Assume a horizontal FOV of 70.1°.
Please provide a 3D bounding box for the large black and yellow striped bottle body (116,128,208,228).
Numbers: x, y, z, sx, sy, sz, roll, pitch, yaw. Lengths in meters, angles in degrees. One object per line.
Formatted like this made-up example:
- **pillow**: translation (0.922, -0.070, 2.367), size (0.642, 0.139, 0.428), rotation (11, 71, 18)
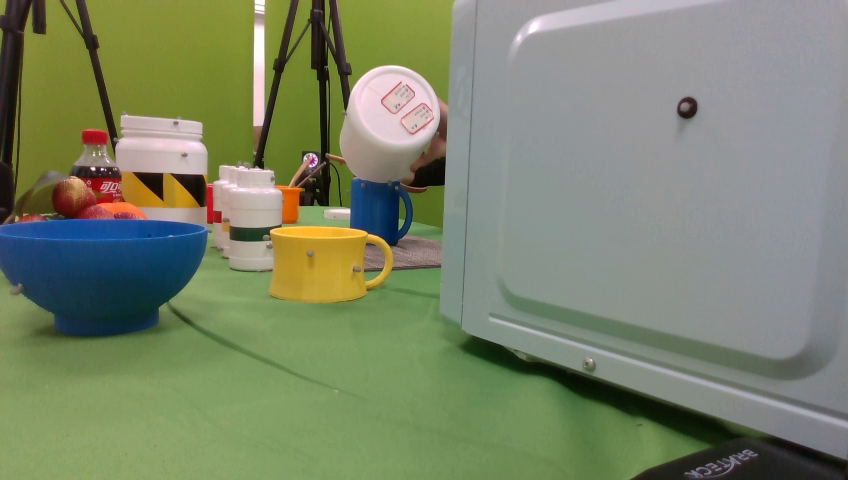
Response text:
- **large black and yellow striped bottle body**: translation (-0.404, -0.089, 0.937), size (0.131, 0.184, 0.130), rotation (3, 7, 0)

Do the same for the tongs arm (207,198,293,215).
- **tongs arm**: translation (-0.423, -0.084, 1.472), size (0.050, 0.026, 0.386), rotation (1, 6, 21)

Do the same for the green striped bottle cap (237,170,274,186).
- **green striped bottle cap**: translation (-0.205, -0.075, 0.737), size (0.044, 0.020, 0.044), rotation (1, 6, 0)

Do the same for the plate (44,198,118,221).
- **plate**: translation (-0.617, -0.056, 1.179), size (0.209, 0.038, 0.209), rotation (3, 7, 0)

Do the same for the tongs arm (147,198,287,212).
- **tongs arm**: translation (-0.504, -0.090, 1.513), size (0.028, 0.028, 0.389), rotation (-1, 3, 38)

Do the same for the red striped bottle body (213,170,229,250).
- **red striped bottle body**: translation (-0.283, -0.047, 0.909), size (0.063, 0.119, 0.063), rotation (3, 14, 0)

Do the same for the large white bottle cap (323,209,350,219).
- **large white bottle cap**: translation (-0.184, -0.062, 1.449), size (0.115, 0.018, 0.115), rotation (2, 7, 0)

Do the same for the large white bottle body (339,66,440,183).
- **large white bottle body**: translation (-0.059, -0.163, 0.918), size (0.131, 0.130, 0.184), rotation (1, -13, -14)

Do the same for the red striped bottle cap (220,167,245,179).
- **red striped bottle cap**: translation (-0.281, -0.099, 0.901), size (0.044, 0.017, 0.044), rotation (-1, 5, 0)

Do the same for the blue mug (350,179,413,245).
- **blue mug**: translation (-0.068, -0.047, 1.001), size (0.116, 0.106, 0.083), rotation (6, 9, 29)

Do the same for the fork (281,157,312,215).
- **fork**: translation (-0.289, -0.116, 1.321), size (0.028, 0.019, 0.207), rotation (6, 51, 19)

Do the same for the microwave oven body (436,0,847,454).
- **microwave oven body**: translation (0.279, -0.040, 0.464), size (0.444, 0.260, 0.324), rotation (-3, 9, -41)

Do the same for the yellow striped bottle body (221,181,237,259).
- **yellow striped bottle body**: translation (-0.244, -0.035, 0.823), size (0.063, 0.120, 0.063), rotation (3, 8, 0)

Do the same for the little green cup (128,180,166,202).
- **little green cup**: translation (-0.485, -0.087, 1.062), size (0.061, 0.038, 0.061), rotation (-1, 6, 0)

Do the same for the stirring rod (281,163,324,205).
- **stirring rod**: translation (-0.278, -0.105, 1.293), size (0.176, 0.006, 0.014), rotation (-47, 25, -18)

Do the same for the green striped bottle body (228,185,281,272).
- **green striped bottle body**: translation (-0.208, -0.024, 0.745), size (0.063, 0.119, 0.063), rotation (2, 7, 0)

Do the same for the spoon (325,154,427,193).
- **spoon**: translation (-0.086, -0.122, 1.097), size (0.194, 0.021, 0.041), rotation (22, 8, -5)

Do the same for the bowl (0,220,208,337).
- **bowl**: translation (-0.251, 0.029, 0.479), size (0.151, 0.077, 0.151), rotation (2, 7, 0)

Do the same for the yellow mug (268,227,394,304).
- **yellow mug**: translation (-0.094, 0.023, 0.629), size (0.131, 0.064, 0.099), rotation (0, 7, -22)

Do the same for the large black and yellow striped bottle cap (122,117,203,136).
- **large black and yellow striped bottle cap**: translation (-0.399, -0.174, 0.927), size (0.115, 0.019, 0.115), rotation (5, 9, -1)

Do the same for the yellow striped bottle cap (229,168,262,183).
- **yellow striped bottle cap**: translation (-0.240, -0.087, 0.816), size (0.044, 0.018, 0.044), rotation (-3, 5, 1)

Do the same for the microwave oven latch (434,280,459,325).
- **microwave oven latch**: translation (0.044, 0.045, 0.470), size (0.079, 0.029, 0.030), rotation (-2, 8, -39)

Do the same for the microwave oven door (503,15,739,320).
- **microwave oven door**: translation (0.218, -0.065, 0.600), size (0.358, 0.243, 0.039), rotation (-4, 10, -41)
